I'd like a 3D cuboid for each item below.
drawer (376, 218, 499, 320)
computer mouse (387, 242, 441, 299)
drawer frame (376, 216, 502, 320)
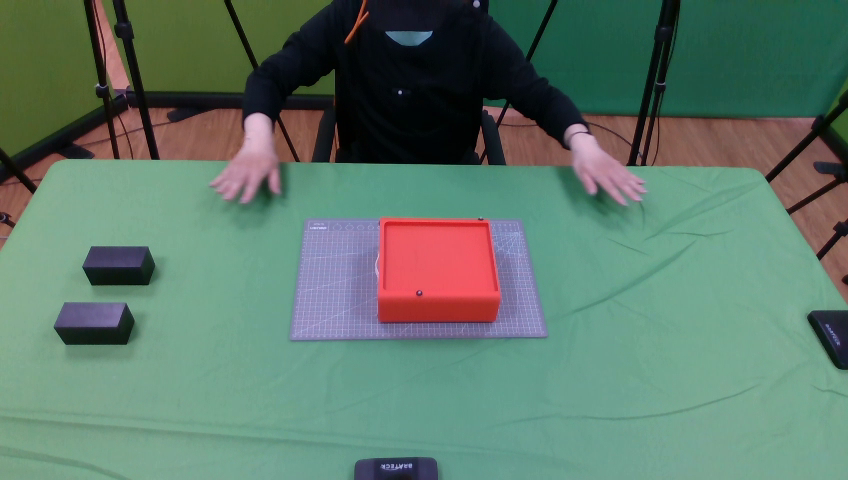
[{"bbox_3d":[0.019,0.050,1.102,0.212,0.073,0.193,1,46,-3],"label":"drawer"},{"bbox_3d":[-0.018,0.053,1.113,0.062,0.041,0.117,26,58,9],"label":"computer mouse"},{"bbox_3d":[0.021,0.049,1.102,0.214,0.083,0.200,1,46,-4],"label":"drawer frame"}]
